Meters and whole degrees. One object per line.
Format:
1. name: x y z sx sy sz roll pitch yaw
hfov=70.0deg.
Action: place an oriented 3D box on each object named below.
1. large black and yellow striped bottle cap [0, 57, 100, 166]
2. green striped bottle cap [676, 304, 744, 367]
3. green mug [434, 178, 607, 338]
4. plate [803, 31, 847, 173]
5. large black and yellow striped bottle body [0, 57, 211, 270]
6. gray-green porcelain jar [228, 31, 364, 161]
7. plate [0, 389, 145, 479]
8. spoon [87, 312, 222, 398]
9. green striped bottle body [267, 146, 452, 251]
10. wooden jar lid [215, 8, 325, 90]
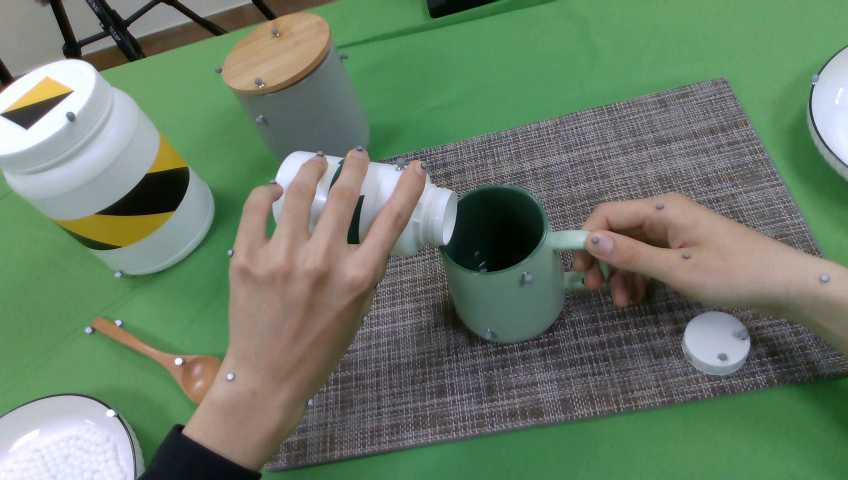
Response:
1. large black and yellow striped bottle cap: -0.332 -0.112 0.516 0.115 0.019 0.114 -8 54 11
2. green striped bottle cap: 0.207 0.068 0.439 0.044 0.020 0.044 -8 50 10
3. green mug: 0.073 0.014 0.458 0.125 0.106 0.091 -5 55 14
4. plate: 0.416 -0.102 0.479 0.207 0.039 0.205 -8 55 12
5. large black and yellow striped bottle body: -0.310 -0.068 0.584 0.130 0.186 0.129 -8 56 12
6. gray-green porcelain jar: -0.123 -0.134 0.606 0.105 0.128 0.105 -9 51 11
7. plate: -0.313 0.223 0.481 0.209 0.038 0.207 -8 55 12
8. spoon: -0.252 0.096 0.557 0.192 0.022 0.041 17 83 25
9. green striped bottle body: -0.042 -0.028 0.424 0.119 0.064 0.063 9 60 14
10. wooden jar lid: -0.139 -0.172 0.558 0.108 0.021 0.107 -10 54 14
